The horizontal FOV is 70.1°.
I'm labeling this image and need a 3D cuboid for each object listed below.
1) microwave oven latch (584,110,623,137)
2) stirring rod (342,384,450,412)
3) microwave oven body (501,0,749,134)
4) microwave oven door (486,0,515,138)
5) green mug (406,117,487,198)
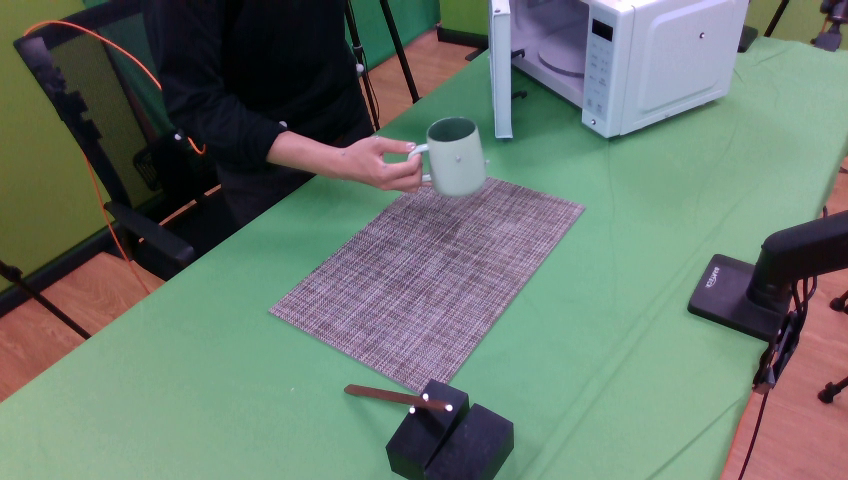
[{"bbox_3d":[0.337,-0.222,1.142,0.030,0.029,0.078,-21,42,-14],"label":"microwave oven latch"},{"bbox_3d":[-0.038,0.186,0.714,0.175,0.006,0.014,-3,22,43],"label":"stirring rod"},{"bbox_3d":[0.382,-0.444,1.246,0.327,0.261,0.437,-22,42,-16],"label":"microwave oven body"},{"bbox_3d":[0.152,-0.404,1.222,0.039,0.245,0.354,-4,41,6],"label":"microwave oven door"},{"bbox_3d":[0.033,-0.125,0.953,0.125,0.105,0.092,-15,39,-2],"label":"green mug"}]
